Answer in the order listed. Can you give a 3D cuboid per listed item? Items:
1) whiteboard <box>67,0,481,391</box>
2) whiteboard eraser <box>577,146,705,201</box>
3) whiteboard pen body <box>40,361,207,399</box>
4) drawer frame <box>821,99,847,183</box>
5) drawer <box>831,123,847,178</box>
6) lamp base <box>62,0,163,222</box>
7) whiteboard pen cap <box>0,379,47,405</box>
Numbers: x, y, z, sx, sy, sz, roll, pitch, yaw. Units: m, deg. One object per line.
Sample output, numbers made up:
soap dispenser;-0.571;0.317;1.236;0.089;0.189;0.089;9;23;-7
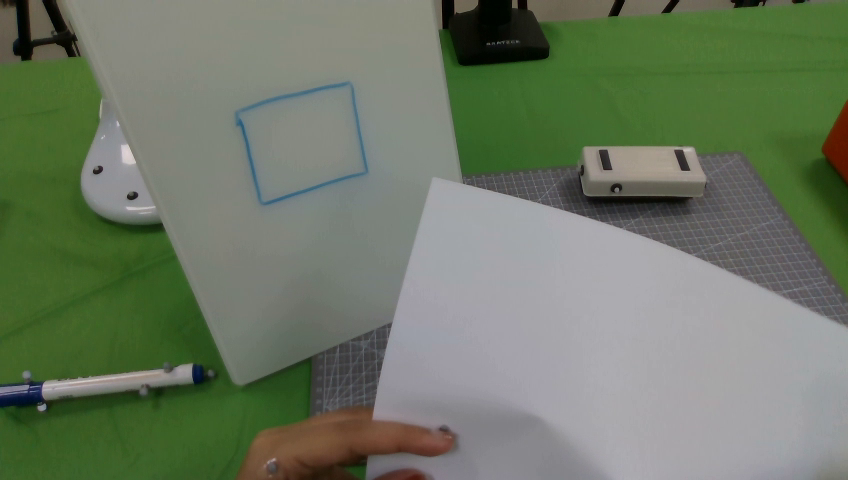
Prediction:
whiteboard;-0.100;-0.078;0.479;0.217;0.308;0.142;-21;30;-16
whiteboard eraser;0.210;-0.064;0.595;0.112;0.042;0.055;0;45;2
whiteboard pen body;-0.239;0.108;0.460;0.141;0.017;0.017;-5;46;-8
drawer frame;0.519;-0.048;0.546;0.202;0.083;0.211;-5;46;-1
drawer;0.519;-0.042;0.542;0.194;0.074;0.209;-3;46;0
lamp base;-0.284;-0.135;0.584;0.178;0.182;0.160;25;52;27
whiteboard pen cap;-0.298;0.113;0.453;0.033;0.018;0.018;-4;46;-11
